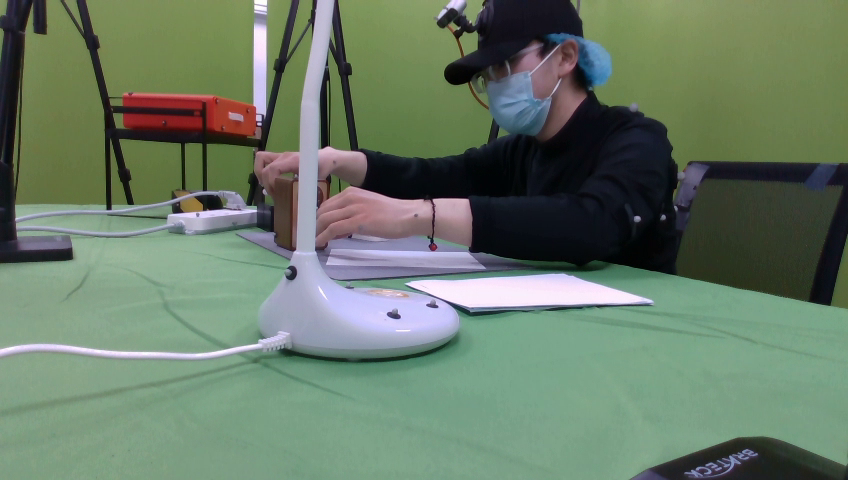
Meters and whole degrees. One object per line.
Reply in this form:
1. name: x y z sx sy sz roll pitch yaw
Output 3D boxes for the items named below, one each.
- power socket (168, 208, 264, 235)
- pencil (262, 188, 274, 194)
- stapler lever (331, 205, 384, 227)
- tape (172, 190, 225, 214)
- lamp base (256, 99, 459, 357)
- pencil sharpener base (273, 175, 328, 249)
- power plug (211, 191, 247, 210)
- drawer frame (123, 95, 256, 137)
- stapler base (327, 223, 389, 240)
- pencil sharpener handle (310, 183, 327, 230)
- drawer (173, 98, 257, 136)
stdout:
1. power socket: -0.381 -0.038 1.129 0.072 0.032 0.227 4 8 17
2. pencil: -0.238 -0.081 0.998 0.012 0.012 0.193 -2 5 -29
3. stapler lever: -0.119 -0.044 1.070 0.117 0.040 0.027 7 8 41
4. tape: -0.515 -0.087 1.388 0.117 0.052 0.117 3 7 0
5. lamp base: -0.055 -0.013 0.463 0.160 0.180 0.180 6 11 27
6. pencil sharpener base: -0.185 -0.042 0.907 0.062 0.107 0.076 -2 9 -34
7. power plug: -0.386 -0.072 1.204 0.072 0.052 0.035 7 9 26
8. drawer frame: -0.524 -0.281 1.376 0.213 0.082 0.202 3 8 8
9. stapler base: -0.117 -0.019 1.073 0.130 0.024 0.041 7 8 41
10. pencil sharpener handle: -0.153 -0.048 0.866 0.036 0.068 0.030 -16 16 -31
11. drawer: -0.518 -0.279 1.376 0.211 0.073 0.195 3 8 9
